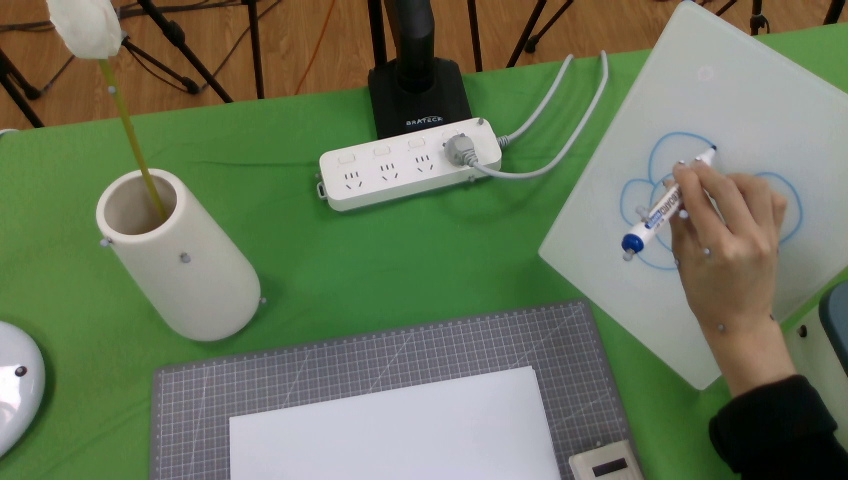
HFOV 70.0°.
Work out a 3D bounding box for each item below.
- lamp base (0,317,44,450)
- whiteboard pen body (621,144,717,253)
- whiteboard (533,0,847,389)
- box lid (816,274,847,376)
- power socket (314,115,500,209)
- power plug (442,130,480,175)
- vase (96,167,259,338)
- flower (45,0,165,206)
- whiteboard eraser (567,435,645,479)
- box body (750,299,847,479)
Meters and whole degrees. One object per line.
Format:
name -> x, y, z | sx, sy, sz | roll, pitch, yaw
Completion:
lamp base -> -0.463, 0.106, 0.519 | 0.178, 0.182, 0.160 | 20, 63, 14
whiteboard pen body -> 0.187, -0.036, 0.451 | 0.017, 0.017, 0.140 | 38, 59, 19
whiteboard -> 0.278, -0.045, 0.568 | 0.144, 0.307, 0.215 | -31, 64, -36
box lid -> 0.464, 0.170, 0.414 | 0.263, 0.015, 0.368 | -10, 63, -6
power socket -> -0.017, -0.092, 0.711 | 0.227, 0.033, 0.071 | -14, 63, -8
power plug -> 0.040, -0.091, 0.684 | 0.035, 0.053, 0.072 | -5, 63, -2
vase -> -0.221, 0.017, 0.557 | 0.098, 0.201, 0.097 | -1, 61, 1
flower -> -0.218, -0.039, 0.494 | 0.038, 0.365, 0.043 | -20, 45, -18
whiteboard eraser -> 0.171, 0.233, 0.530 | 0.056, 0.042, 0.111 | -14, 62, -9
box body -> 0.465, 0.208, 0.479 | 0.254, 0.161, 0.360 | -10, 62, -5
